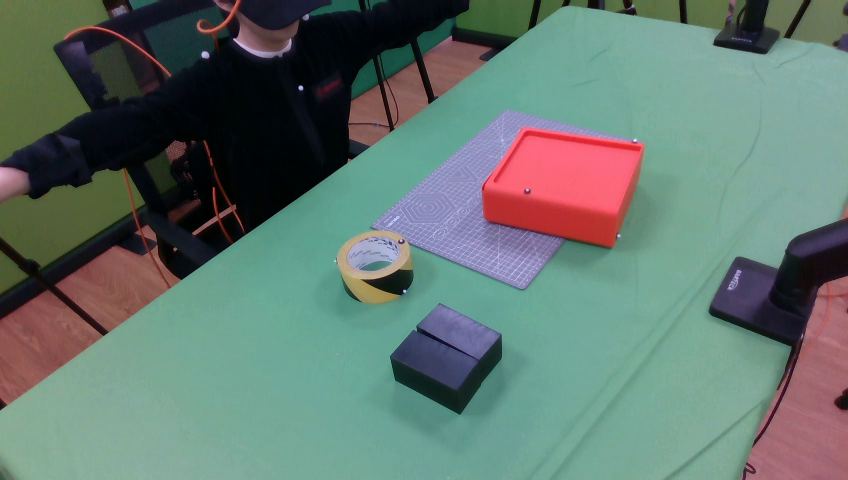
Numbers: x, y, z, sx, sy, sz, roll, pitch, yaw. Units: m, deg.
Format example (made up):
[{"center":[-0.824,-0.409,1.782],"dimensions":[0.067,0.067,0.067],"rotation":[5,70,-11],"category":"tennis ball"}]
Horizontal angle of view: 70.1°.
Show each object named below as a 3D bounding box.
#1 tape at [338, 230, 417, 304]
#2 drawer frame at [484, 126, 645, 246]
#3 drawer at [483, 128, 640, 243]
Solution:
[{"center":[-0.069,0.041,0.917],"dimensions":[0.117,0.053,0.116],"rotation":[-4,41,4],"category":"tape"},{"center":[0.234,-0.096,1.003],"dimensions":[0.212,0.083,0.202],"rotation":[14,44,22],"category":"drawer frame"},{"center":[0.230,-0.096,1.006],"dimensions":[0.210,0.073,0.194],"rotation":[14,44,23],"category":"drawer"}]
